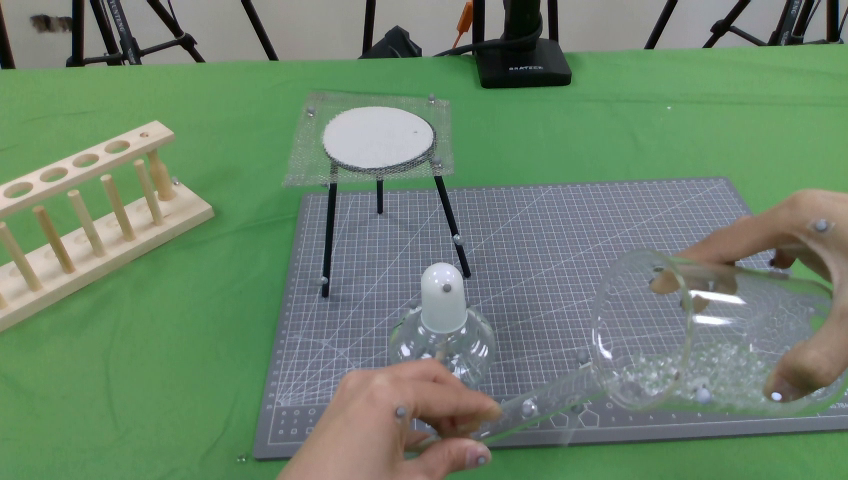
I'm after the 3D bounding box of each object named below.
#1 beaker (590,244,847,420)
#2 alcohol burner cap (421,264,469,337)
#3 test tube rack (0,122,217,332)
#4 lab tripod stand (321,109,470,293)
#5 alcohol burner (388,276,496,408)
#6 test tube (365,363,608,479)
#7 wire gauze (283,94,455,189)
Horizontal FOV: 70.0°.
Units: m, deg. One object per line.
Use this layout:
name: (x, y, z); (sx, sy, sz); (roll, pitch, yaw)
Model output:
beaker: (0.142, 0.050, 0.293); (0.101, 0.084, 0.073); (9, 39, -15)
alcohol burner cap: (0.013, 0.037, 0.398); (0.034, 0.048, 0.033); (-3, 41, 3)
test tube rack: (-0.317, -0.011, 0.536); (0.066, 0.086, 0.242); (32, 51, 32)
lab tripod stand: (-0.029, -0.032, 0.514); (0.148, 0.132, 0.147); (1, 41, 0)
alcohol burner: (0.013, 0.064, 0.422); (0.078, 0.120, 0.077); (0, 44, 0)
test tube: (0.027, 0.102, 0.321); (0.150, 0.017, 0.017); (-31, 36, 22)
wire gauze: (-0.038, -0.080, 0.467); (0.121, 0.011, 0.124); (0, 43, 0)
